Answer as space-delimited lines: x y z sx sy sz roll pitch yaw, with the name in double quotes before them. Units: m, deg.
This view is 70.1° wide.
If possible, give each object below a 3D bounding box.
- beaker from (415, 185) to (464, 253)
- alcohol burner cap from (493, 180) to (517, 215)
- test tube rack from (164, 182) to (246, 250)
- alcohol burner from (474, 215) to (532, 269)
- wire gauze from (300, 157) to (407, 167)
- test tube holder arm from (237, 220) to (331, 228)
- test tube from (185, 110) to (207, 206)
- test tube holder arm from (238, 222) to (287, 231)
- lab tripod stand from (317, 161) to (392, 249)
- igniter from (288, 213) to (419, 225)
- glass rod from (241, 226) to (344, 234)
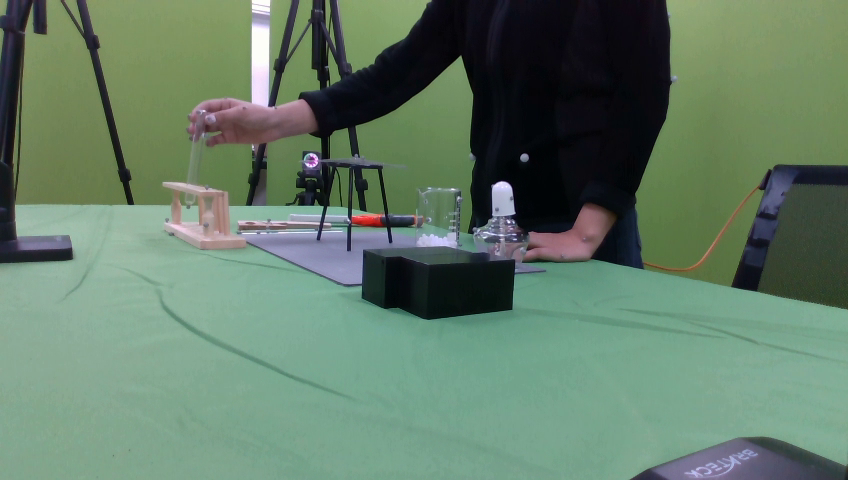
"beaker" 0.020 -0.033 0.938 0.073 0.100 0.084 7 9 35
"alcohol burner cap" 0.107 -0.057 0.813 0.034 0.048 0.034 -6 11 2
"test tube rack" -0.360 -0.045 0.982 0.067 0.085 0.241 -3 9 -34
"alcohol burner" 0.107 -0.022 0.819 0.078 0.119 0.078 1 9 0
"wire gauze" -0.112 -0.125 0.957 0.121 0.011 0.126 11 11 42
"test tube holder arm" -0.261 -0.030 1.141 0.179 0.015 0.013 -3 44 -33
"test tube" -0.358 -0.128 0.952 0.017 0.150 0.017 10 6 -1
"test tube holder arm" -0.297 -0.024 1.113 0.088 0.015 0.010 -2 44 -33
"lab tripod stand" -0.111 -0.059 0.963 0.148 0.131 0.148 4 8 0
"igniter" -0.145 -0.044 1.278 0.278 0.025 0.057 -1 -2 -21
"glass rod" -0.239 -0.019 1.119 0.201 0.008 0.008 -3 9 -34
